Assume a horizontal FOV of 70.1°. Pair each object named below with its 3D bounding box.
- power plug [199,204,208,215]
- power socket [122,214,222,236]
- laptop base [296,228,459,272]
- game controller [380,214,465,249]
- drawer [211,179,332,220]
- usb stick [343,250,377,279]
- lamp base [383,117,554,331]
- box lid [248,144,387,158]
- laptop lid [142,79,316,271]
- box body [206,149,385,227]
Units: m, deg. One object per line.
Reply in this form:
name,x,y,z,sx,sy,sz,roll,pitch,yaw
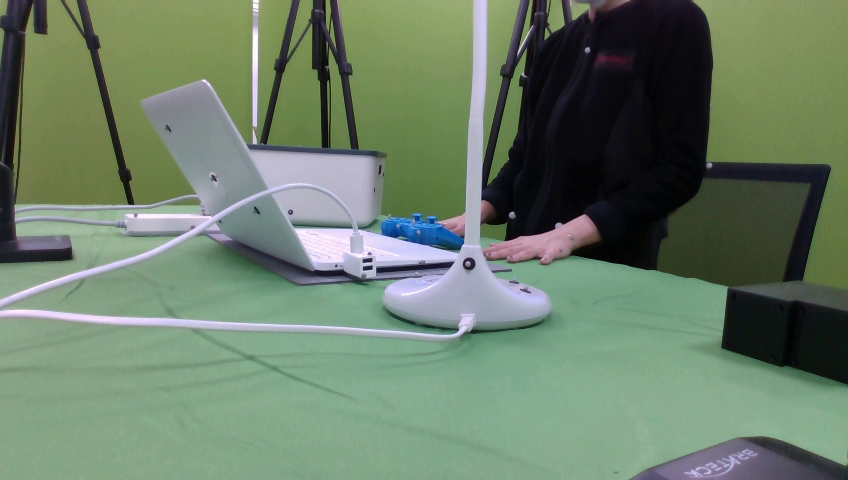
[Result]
power plug,-0.387,-0.055,1.089,0.035,0.052,0.072,-1,6,-22
power socket,-0.398,-0.028,1.049,0.228,0.032,0.072,-3,8,-34
laptop base,-0.122,0.011,0.889,0.237,0.023,0.352,2,6,-35
game controller,-0.007,-0.016,1.032,0.097,0.051,0.154,-4,9,-31
drawer,-0.328,-0.096,1.333,0.212,0.073,0.194,5,9,6
usb stick,-0.076,0.026,0.687,0.021,0.027,0.059,-8,9,-31
lamp base,0.045,-0.019,0.547,0.161,0.180,0.179,2,10,-4
box lid,-0.275,-0.197,1.326,0.372,0.015,0.263,4,8,1
laptop lid,-0.265,-0.082,0.775,0.013,0.242,0.355,-37,28,-25
box body,-0.276,-0.124,1.334,0.364,0.160,0.254,3,7,1
